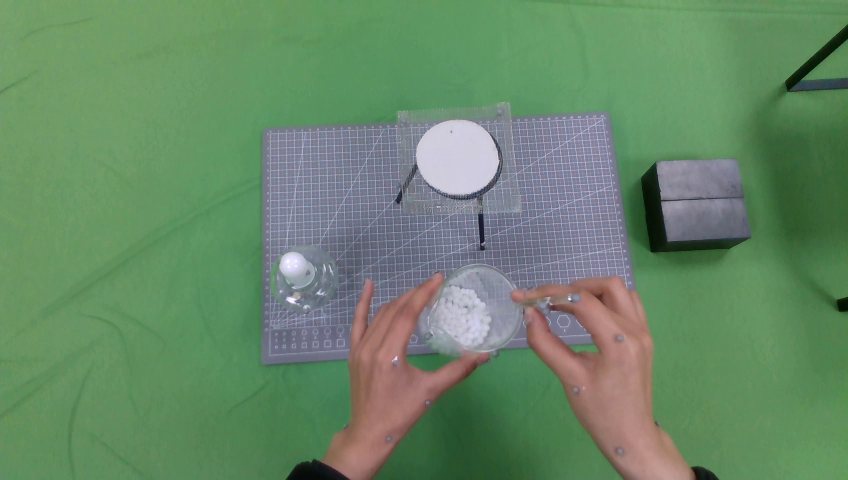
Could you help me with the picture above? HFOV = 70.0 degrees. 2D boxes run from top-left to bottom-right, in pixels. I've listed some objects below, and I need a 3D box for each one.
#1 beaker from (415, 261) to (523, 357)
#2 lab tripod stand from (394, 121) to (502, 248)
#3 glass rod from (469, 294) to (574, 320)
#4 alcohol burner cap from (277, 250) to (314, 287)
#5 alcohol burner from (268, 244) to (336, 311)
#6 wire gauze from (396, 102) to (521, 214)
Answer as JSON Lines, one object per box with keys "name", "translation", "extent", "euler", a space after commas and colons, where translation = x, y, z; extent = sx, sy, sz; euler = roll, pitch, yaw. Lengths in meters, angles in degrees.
{"name": "beaker", "translation": [0.032, 0.067, 0.539], "extent": [0.084, 0.100, 0.073], "euler": [-16, 80, -16]}
{"name": "lab tripod stand", "translation": [0.037, -0.071, 0.696], "extent": [0.148, 0.132, 0.147], "euler": [0, 73, 0]}
{"name": "glass rod", "translation": [0.070, 0.056, 0.489], "extent": [0.008, 0.199, 0.008], "euler": [3, 79, -15]}
{"name": "alcohol burner cap", "translation": [-0.137, 0.029, 0.637], "extent": [0.034, 0.048, 0.033], "euler": [-1, 70, 3]}
{"name": "alcohol burner", "translation": [-0.138, 0.038, 0.672], "extent": [0.078, 0.119, 0.077], "euler": [1, 76, -2]}
{"name": "wire gauze", "translation": [0.035, -0.085, 0.630], "extent": [0.125, 0.011, 0.121], "euler": [-2, 76, -2]}
